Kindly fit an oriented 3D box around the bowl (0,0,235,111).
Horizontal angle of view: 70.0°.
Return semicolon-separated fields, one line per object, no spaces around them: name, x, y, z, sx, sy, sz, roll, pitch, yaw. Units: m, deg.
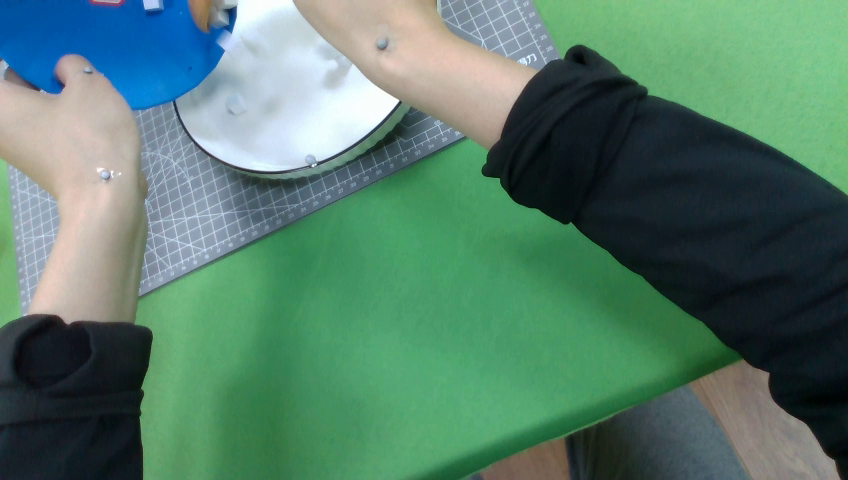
bowl;-0.207;-0.165;0.386;0.151;0.153;0.076;-50;39;0

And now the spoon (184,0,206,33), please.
spoon;-0.101;-0.169;0.317;0.193;0.022;0.041;-23;69;53

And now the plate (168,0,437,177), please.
plate;-0.087;-0.139;0.435;0.208;0.038;0.208;-5;74;16
